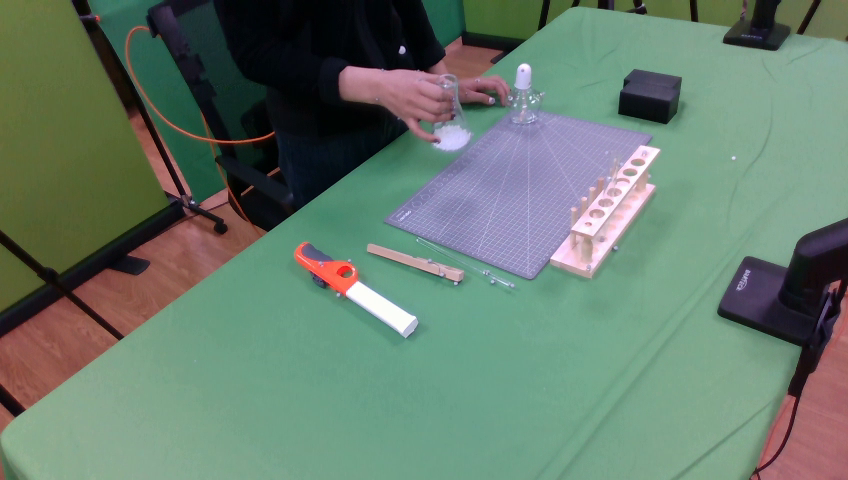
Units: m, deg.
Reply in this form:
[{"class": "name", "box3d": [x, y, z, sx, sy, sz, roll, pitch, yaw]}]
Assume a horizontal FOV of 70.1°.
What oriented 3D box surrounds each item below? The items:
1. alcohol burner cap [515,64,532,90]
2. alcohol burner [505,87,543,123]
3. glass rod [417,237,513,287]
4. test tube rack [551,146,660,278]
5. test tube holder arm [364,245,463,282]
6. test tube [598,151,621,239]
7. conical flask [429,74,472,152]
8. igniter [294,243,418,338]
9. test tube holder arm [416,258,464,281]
[{"class": "alcohol burner cap", "box3d": [0.199, -0.324, 1.198, 0.034, 0.048, 0.033, 0, 46, 1]}, {"class": "alcohol burner", "box3d": [0.202, -0.298, 1.222, 0.078, 0.119, 0.077, -4, 40, 4]}, {"class": "glass rod", "box3d": [0.059, 0.033, 0.945, 0.198, 0.008, 0.008, 26, 52, 38]}, {"class": "test tube rack", "box3d": [0.286, -0.053, 0.943, 0.066, 0.085, 0.243, 21, 49, 32]}, {"class": "test tube holder arm", "box3d": [-0.020, 0.034, 0.947, 0.177, 0.015, 0.013, 16, 11, 27]}, {"class": "test tube", "box3d": [0.269, -0.062, 0.880, 0.017, 0.151, 0.017, -3, 39, 3]}, {"class": "conical flask", "box3d": [0.042, -0.215, 1.009, 0.075, 0.122, 0.075, -3, 46, 4]}, {"class": "igniter", "box3d": [-0.114, 0.070, 0.919, 0.274, 0.025, 0.057, 29, 63, 37]}, {"class": "test tube holder arm", "box3d": [0.022, 0.045, 0.931, 0.087, 0.015, 0.010, 16, 11, 28]}]
